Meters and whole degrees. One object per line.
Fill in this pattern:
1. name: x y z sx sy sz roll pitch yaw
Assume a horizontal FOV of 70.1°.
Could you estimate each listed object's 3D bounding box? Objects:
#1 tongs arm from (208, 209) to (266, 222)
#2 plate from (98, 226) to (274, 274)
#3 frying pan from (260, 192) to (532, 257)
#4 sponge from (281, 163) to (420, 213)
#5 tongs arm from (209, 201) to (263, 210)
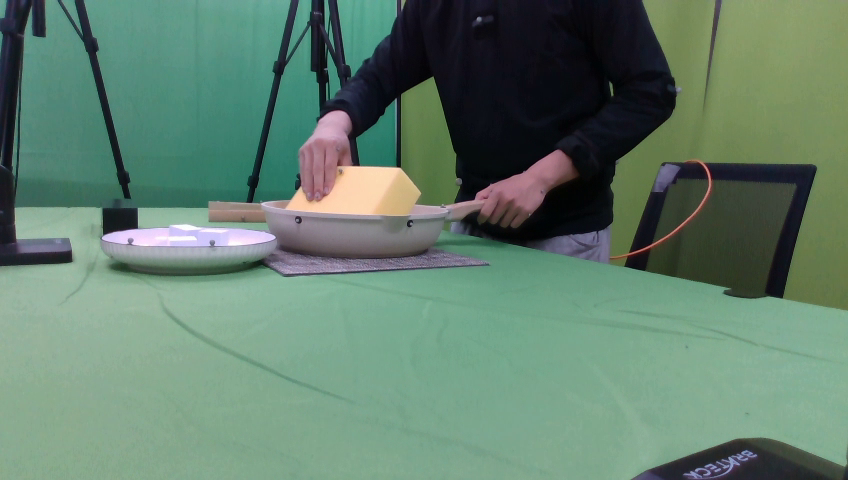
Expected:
1. tongs arm: -0.280 -0.055 1.354 0.389 0.028 0.028 -1 6 -28
2. plate: -0.301 0.012 0.778 0.208 0.039 0.207 3 7 0
3. frying pan: -0.017 -0.043 1.005 0.490 0.102 0.305 -11 13 -26
4. sponge: -0.123 -0.054 0.934 0.206 0.118 0.061 8 -31 41
5. tongs arm: -0.306 -0.070 1.429 0.386 0.026 0.050 2 8 -15
